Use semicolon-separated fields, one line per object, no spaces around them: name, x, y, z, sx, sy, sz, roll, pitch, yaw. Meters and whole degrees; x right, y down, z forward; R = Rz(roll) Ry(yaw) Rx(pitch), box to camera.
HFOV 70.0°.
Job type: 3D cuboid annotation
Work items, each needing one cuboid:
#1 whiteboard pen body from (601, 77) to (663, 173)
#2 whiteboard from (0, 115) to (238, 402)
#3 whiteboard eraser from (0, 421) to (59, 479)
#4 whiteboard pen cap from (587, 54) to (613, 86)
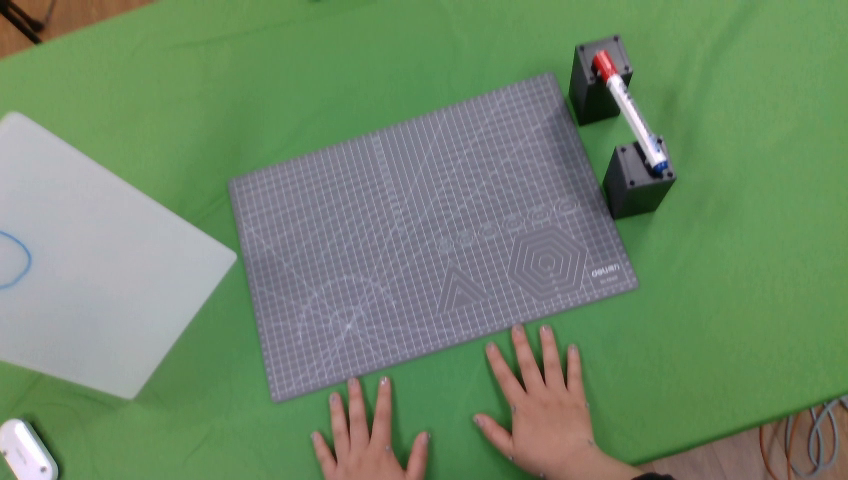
whiteboard pen body;0.216;-0.133;0.645;0.017;0.017;0.139;-23;73;1
whiteboard;-0.408;0.018;0.677;0.142;0.309;0.217;28;79;35
whiteboard eraser;-0.481;0.262;0.730;0.041;0.019;0.100;-44;73;-7
whiteboard pen cap;0.193;-0.186;0.663;0.017;0.017;0.032;-23;73;1
